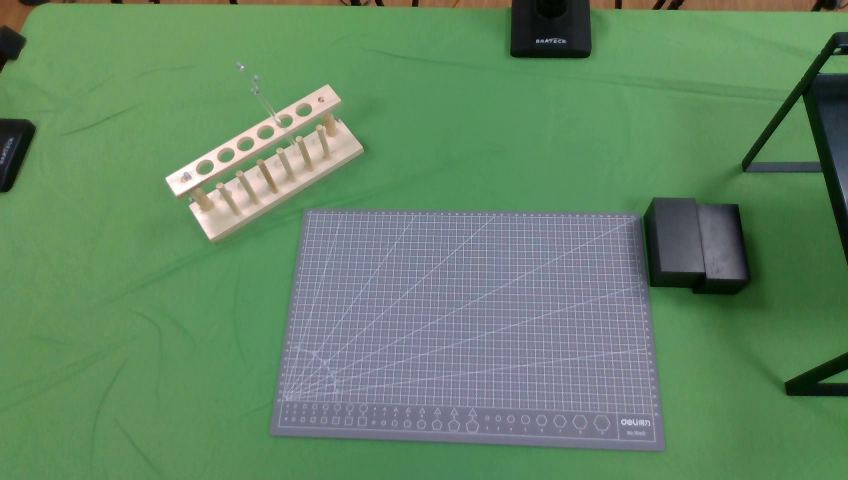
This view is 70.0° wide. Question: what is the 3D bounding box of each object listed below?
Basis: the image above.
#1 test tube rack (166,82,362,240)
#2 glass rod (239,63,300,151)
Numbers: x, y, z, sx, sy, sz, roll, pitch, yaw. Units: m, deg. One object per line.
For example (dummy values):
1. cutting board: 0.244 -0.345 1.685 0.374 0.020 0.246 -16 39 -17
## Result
1. test tube rack: -0.207 -0.105 0.814 0.242 0.086 0.066 -34 68 -11
2. glass rod: -0.191 -0.162 0.766 0.008 0.201 0.008 -2 70 7
